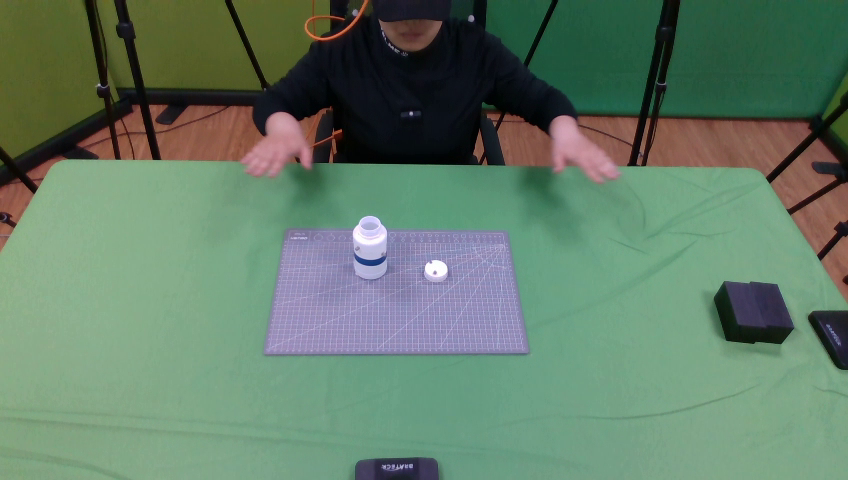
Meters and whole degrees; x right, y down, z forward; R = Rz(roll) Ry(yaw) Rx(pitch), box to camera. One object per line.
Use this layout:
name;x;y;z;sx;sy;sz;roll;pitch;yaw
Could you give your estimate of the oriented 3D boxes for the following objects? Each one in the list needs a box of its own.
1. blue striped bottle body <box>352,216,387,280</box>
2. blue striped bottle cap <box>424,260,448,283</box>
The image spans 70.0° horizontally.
blue striped bottle body;-0.100;0.012;1.107;0.063;0.121;0.062;2;46;-2
blue striped bottle cap;0.022;0.059;1.145;0.044;0.021;0.044;2;47;-2
